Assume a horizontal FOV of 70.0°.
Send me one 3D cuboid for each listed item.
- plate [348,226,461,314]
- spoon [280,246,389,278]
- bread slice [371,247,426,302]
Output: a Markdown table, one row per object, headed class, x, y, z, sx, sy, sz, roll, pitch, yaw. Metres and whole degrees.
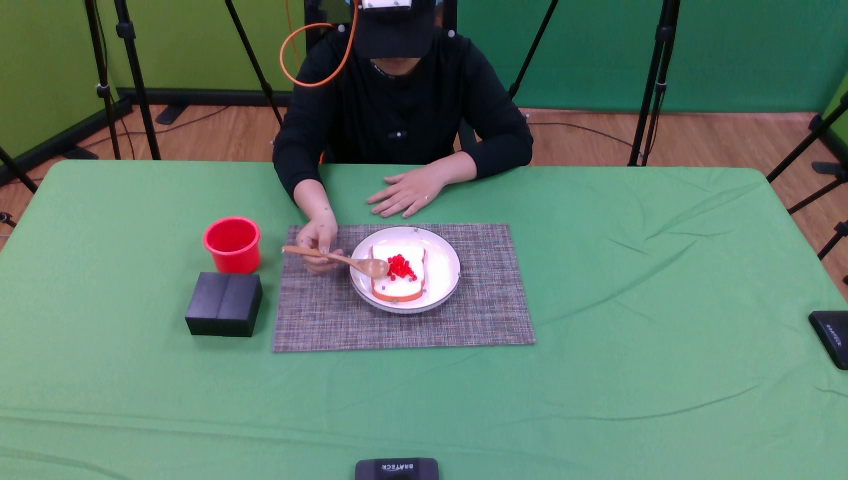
| class | x | y | z | sx | sy | sz | roll | pitch | yaw |
| --- | --- | --- | --- | --- | --- | --- | --- | --- | --- |
| plate | -0.035 | 0.058 | 1.123 | 0.209 | 0.038 | 0.208 | 2 | 45 | -2 |
| spoon | -0.156 | 0.033 | 1.070 | 0.194 | 0.022 | 0.041 | 16 | 53 | -19 |
| bread slice | -0.047 | 0.060 | 1.124 | 0.105 | 0.019 | 0.130 | 0 | 45 | -3 |
